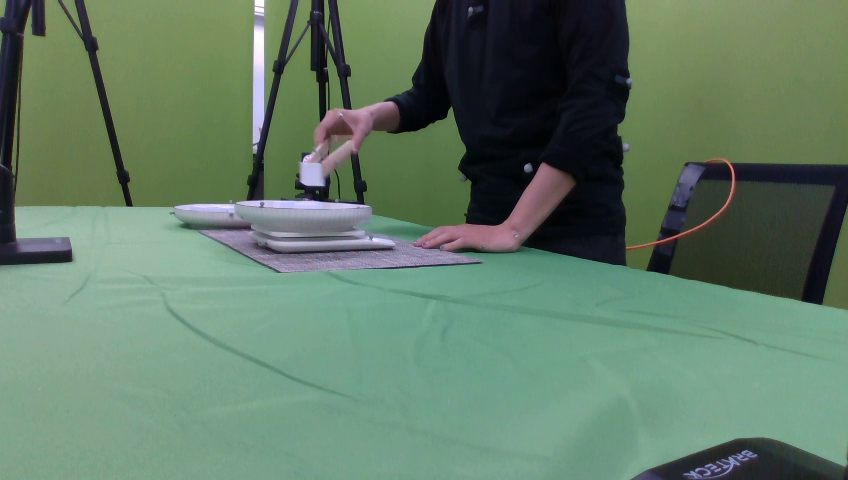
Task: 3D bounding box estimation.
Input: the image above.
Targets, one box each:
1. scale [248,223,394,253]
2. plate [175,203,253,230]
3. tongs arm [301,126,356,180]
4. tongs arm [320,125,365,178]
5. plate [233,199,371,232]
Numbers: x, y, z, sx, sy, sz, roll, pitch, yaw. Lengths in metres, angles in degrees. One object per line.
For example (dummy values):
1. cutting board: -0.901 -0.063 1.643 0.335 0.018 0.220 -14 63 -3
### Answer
1. scale: -0.162 -0.006 0.954 0.202 0.031 0.148 -2 8 -32
2. plate: -0.381 -0.047 1.199 0.208 0.039 0.207 3 7 0
3. tongs arm: -0.173 -0.173 1.148 0.051 0.026 0.384 -6 19 2
4. tongs arm: -0.150 -0.175 1.146 0.028 0.028 0.387 -8 19 7
5. plate: -0.188 -0.039 0.939 0.209 0.038 0.209 3 7 0
